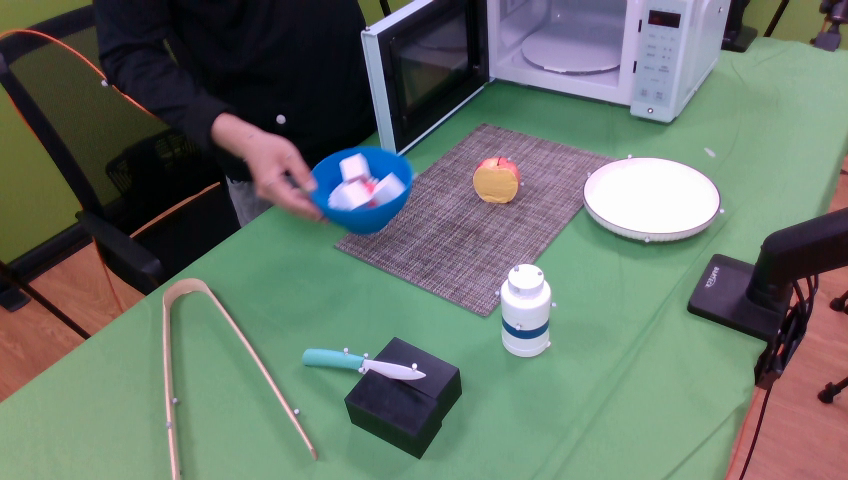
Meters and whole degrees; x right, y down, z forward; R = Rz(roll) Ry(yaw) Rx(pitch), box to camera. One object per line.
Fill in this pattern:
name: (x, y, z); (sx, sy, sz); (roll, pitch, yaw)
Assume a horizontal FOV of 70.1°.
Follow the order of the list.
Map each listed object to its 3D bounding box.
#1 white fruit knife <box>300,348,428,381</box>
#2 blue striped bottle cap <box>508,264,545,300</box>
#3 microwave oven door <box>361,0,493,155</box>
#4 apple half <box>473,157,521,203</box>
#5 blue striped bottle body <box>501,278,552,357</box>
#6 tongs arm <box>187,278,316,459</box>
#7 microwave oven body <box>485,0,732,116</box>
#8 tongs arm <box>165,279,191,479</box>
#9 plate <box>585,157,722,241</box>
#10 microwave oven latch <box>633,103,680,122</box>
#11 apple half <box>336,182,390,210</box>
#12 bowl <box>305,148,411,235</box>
white fruit knife: (-0.079, 0.154, 0.748); (0.206, 0.027, 0.016); (1, 21, 34)
blue striped bottle cap: (0.125, 0.051, 0.735); (0.044, 0.021, 0.044); (-6, 39, 5)
microwave oven door: (0.022, -0.353, 1.183); (0.039, 0.245, 0.357); (21, 48, 30)
apple half: (0.127, -0.106, 1.030); (0.080, 0.075, 0.053); (4, 36, 19)
blue striped bottle body: (0.130, 0.088, 0.769); (0.063, 0.121, 0.063); (-4, 40, 4)
tongs arm: (-0.241, 0.155, 0.816); (0.028, 0.028, 0.384); (-31, 45, -21)
microwave oven body: (0.377, -0.462, 1.267); (0.438, 0.261, 0.327); (21, 48, 30)
tongs arm: (-0.313, 0.182, 0.789); (0.051, 0.026, 0.381); (-19, 41, -14)
plate: (0.367, -0.063, 0.979); (0.207, 0.039, 0.206); (-4, 40, 4)
microwave oven latch: (0.444, -0.249, 1.157); (0.078, 0.029, 0.030); (21, 49, 30)
apple half: (-0.092, -0.064, 0.875); (0.081, 0.033, 0.081); (0, 44, 1)
bowl: (-0.090, -0.060, 0.878); (0.151, 0.077, 0.150); (-1, 42, 2)
